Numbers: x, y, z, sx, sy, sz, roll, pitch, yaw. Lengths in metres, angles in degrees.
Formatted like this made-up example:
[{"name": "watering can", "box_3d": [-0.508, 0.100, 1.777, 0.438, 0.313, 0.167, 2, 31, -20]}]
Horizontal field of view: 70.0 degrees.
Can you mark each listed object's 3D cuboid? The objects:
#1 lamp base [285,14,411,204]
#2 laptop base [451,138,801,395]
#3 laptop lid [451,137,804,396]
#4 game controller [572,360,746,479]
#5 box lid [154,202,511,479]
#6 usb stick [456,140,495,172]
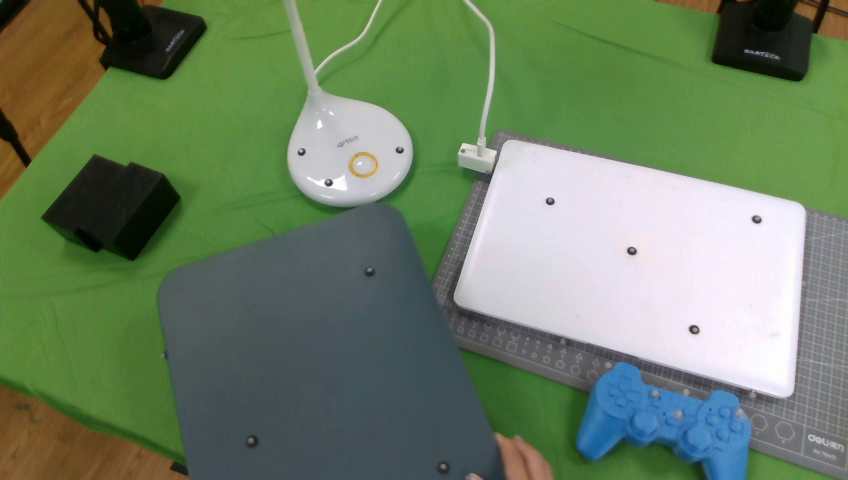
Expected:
[{"name": "lamp base", "box_3d": [-0.109, -0.159, 0.708, 0.160, 0.182, 0.177, -38, 63, -16]}, {"name": "laptop base", "box_3d": [0.230, 0.017, 0.684, 0.353, 0.023, 0.234, 15, 67, 11]}, {"name": "laptop lid", "box_3d": [0.228, 0.013, 0.673, 0.355, 0.013, 0.240, 16, 66, 12]}, {"name": "game controller", "box_3d": [0.229, 0.175, 0.582, 0.155, 0.052, 0.096, 16, 61, 11]}, {"name": "box lid", "box_3d": [-0.095, 0.141, 0.565, 0.263, 0.015, 0.368, -19, 64, -9]}, {"name": "usb stick", "box_3d": [0.070, -0.101, 0.743, 0.059, 0.027, 0.021, 19, 59, 9]}]
